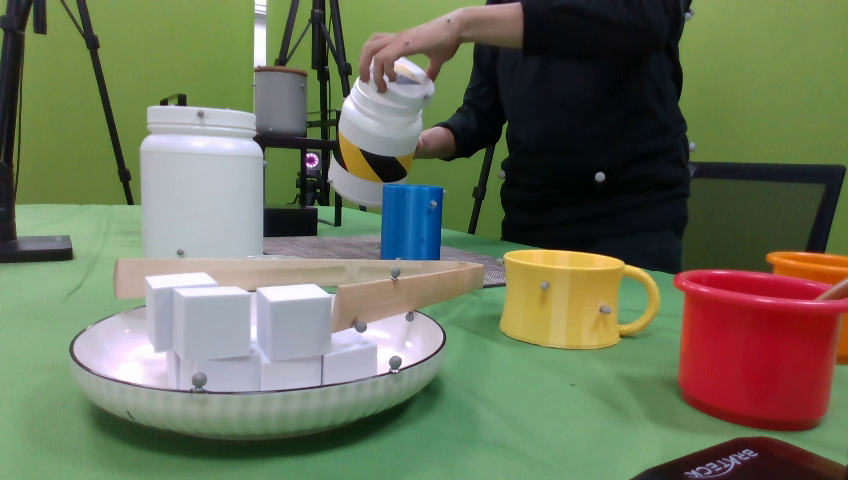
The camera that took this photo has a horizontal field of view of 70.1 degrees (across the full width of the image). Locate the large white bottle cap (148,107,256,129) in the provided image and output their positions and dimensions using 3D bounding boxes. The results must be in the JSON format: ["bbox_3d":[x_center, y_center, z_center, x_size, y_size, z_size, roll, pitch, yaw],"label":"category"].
[{"bbox_3d":[-0.250,-0.137,0.686,0.115,0.018,0.115,3,8,0],"label":"large white bottle cap"}]

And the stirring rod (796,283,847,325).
[{"bbox_3d":[0.347,0.019,0.460,0.014,0.176,0.006,-16,59,-25],"label":"stirring rod"}]

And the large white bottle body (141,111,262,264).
[{"bbox_3d":[-0.254,-0.053,0.697,0.131,0.184,0.130,2,7,0],"label":"large white bottle body"}]

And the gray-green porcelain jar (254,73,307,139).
[{"bbox_3d":[-0.298,-0.277,1.259,0.106,0.126,0.106,3,7,0],"label":"gray-green porcelain jar"}]

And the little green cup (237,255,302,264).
[{"bbox_3d":[-0.150,0.038,0.590,0.061,0.038,0.061,3,6,0],"label":"little green cup"}]

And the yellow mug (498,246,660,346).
[{"bbox_3d":[0.130,0.045,0.508,0.131,0.064,0.100,4,7,6],"label":"yellow mug"}]

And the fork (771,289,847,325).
[{"bbox_3d":[0.335,0.018,0.443,0.028,0.018,0.207,-1,-36,-20],"label":"fork"}]

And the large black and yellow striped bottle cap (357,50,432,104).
[{"bbox_3d":[-0.042,-0.244,0.901,0.115,0.019,0.114,19,39,-16],"label":"large black and yellow striped bottle cap"}]

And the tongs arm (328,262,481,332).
[{"bbox_3d":[-0.003,0.036,0.493,0.050,0.026,0.386,1,-1,19],"label":"tongs arm"}]

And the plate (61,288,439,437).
[{"bbox_3d":[-0.095,0.069,0.362,0.208,0.039,0.207,3,7,0],"label":"plate"}]

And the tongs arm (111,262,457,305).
[{"bbox_3d":[-0.080,0.032,0.527,0.028,0.027,0.389,-4,-3,33],"label":"tongs arm"}]

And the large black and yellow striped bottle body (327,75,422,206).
[{"bbox_3d":[-0.078,-0.163,0.981,0.131,0.184,0.130,12,37,-9],"label":"large black and yellow striped bottle body"}]

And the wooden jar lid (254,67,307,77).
[{"bbox_3d":[-0.296,-0.339,1.251,0.108,0.020,0.108,2,7,0],"label":"wooden jar lid"}]

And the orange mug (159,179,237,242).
[{"bbox_3d":[-0.368,-0.052,0.991,0.127,0.101,0.083,-10,14,-41],"label":"orange mug"}]

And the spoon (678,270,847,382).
[{"bbox_3d":[0.229,0.031,0.338,0.193,0.021,0.042,-44,-16,27],"label":"spoon"}]

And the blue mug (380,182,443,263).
[{"bbox_3d":[-0.019,-0.026,0.833,0.082,0.106,0.116,1,7,-7],"label":"blue mug"}]
